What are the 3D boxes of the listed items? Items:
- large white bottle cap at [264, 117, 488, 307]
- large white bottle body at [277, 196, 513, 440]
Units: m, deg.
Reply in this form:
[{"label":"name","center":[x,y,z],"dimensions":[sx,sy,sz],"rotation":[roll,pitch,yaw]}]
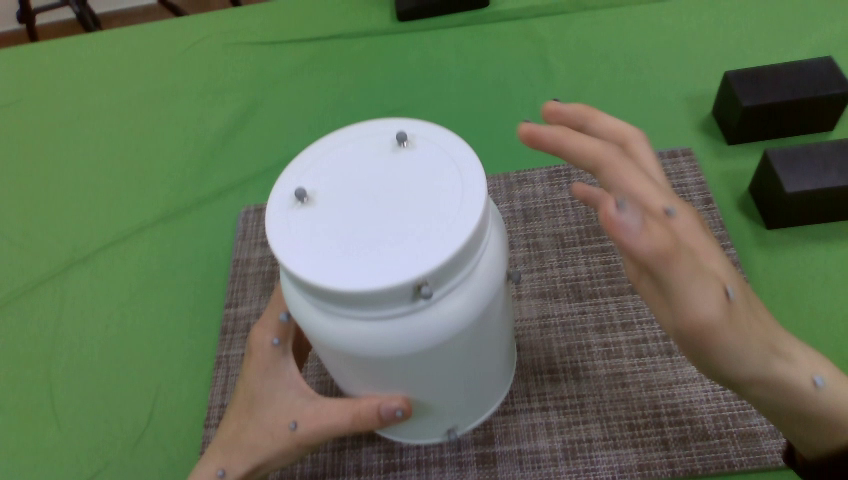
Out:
[{"label":"large white bottle cap","center":[-0.025,-0.019,0.310],"dimensions":[0.115,0.018,0.113],"rotation":[-5,53,7]},{"label":"large white bottle body","center":[-0.012,0.033,0.379],"dimensions":[0.130,0.186,0.129],"rotation":[-5,52,7]}]
